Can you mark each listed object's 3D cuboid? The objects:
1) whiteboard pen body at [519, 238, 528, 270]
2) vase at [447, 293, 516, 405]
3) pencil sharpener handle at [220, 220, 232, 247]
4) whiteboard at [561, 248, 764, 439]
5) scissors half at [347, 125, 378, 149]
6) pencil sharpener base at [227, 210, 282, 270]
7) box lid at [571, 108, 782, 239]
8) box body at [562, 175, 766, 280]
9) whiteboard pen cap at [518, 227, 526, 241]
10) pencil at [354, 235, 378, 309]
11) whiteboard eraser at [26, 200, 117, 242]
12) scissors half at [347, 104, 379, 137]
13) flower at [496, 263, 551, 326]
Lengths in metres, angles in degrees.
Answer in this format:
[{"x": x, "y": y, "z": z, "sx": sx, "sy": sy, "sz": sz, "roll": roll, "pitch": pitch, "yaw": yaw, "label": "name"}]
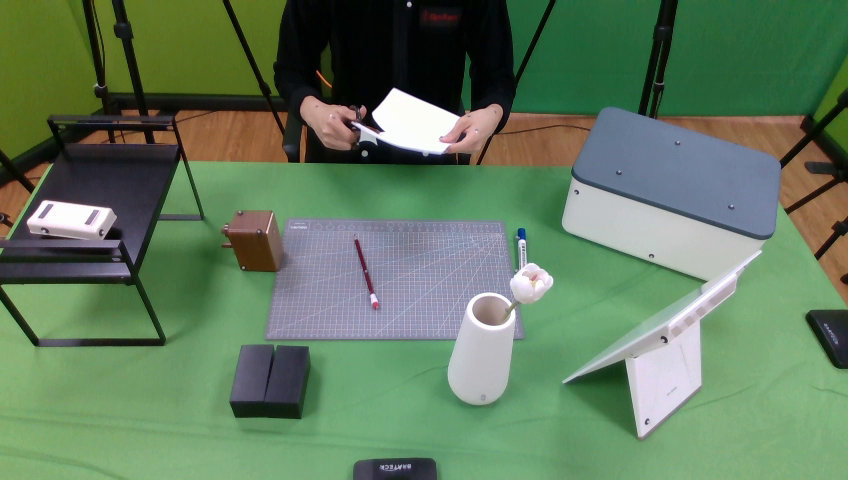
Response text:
[{"x": 0.193, "y": 0.035, "z": 1.180, "sx": 0.017, "sy": 0.017, "sz": 0.140, "roll": 6, "pitch": 48, "yaw": 1, "label": "whiteboard pen body"}, {"x": 0.091, "y": 0.169, "z": 0.921, "sx": 0.098, "sy": 0.201, "sz": 0.097, "roll": 3, "pitch": 47, "yaw": -3, "label": "vase"}, {"x": -0.362, "y": -0.009, "z": 1.105, "sx": 0.030, "sy": 0.068, "sz": 0.036, "roll": 1, "pitch": 52, "yaw": 1, "label": "pencil sharpener handle"}, {"x": 0.386, "y": 0.176, "z": 0.905, "sx": 0.217, "sy": 0.306, "sz": 0.143, "roll": -26, "pitch": 72, "yaw": -27, "label": "whiteboard"}, {"x": -0.107, "y": -0.183, "z": 1.056, "sx": 0.013, "sy": 0.040, "sz": 0.174, "roll": -2, "pitch": 4, "yaw": -22, "label": "scissors half"}, {"x": -0.311, "y": 0.001, "z": 1.112, "sx": 0.077, "sy": 0.107, "sz": 0.061, "roll": 1, "pitch": 47, "yaw": 1, "label": "pencil sharpener base"}, {"x": 0.491, "y": -0.139, "z": 1.168, "sx": 0.370, "sy": 0.015, "sz": 0.262, "roll": 21, "pitch": 49, "yaw": 15, "label": "box lid"}, {"x": 0.486, "y": -0.088, "z": 1.222, "sx": 0.363, "sy": 0.161, "sz": 0.253, "roll": 20, "pitch": 48, "yaw": 15, "label": "box body"}, {"x": 0.197, "y": -0.009, "z": 1.220, "sx": 0.018, "sy": 0.018, "sz": 0.033, "roll": 5, "pitch": 51, "yaw": 1, "label": "whiteboard pen cap"}, {"x": -0.113, "y": 0.055, "z": 1.143, "sx": 0.012, "sy": 0.012, "sz": 0.192, "roll": -10, "pitch": 46, "yaw": -13, "label": "pencil"}, {"x": -0.532, "y": -0.026, "z": 0.919, "sx": 0.113, "sy": 0.042, "sz": 0.055, "roll": 7, "pitch": 45, "yaw": 3, "label": "whiteboard eraser"}, {"x": -0.107, "y": -0.203, "z": 1.051, "sx": 0.013, "sy": 0.040, "sz": 0.174, "roll": -7, "pitch": 28, "yaw": -21, "label": "scissors half"}, {"x": 0.102, "y": 0.121, "z": 0.853, "sx": 0.044, "sy": 0.363, "sz": 0.038, "roll": -2, "pitch": 64, "yaw": -10, "label": "flower"}]
